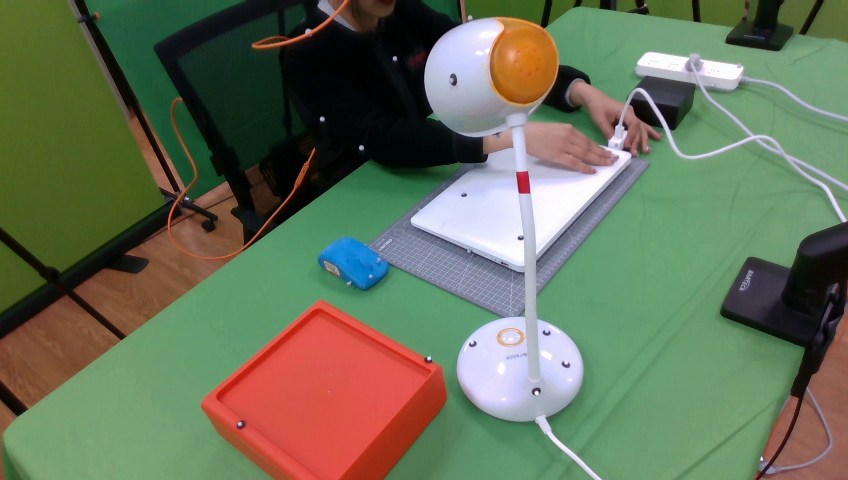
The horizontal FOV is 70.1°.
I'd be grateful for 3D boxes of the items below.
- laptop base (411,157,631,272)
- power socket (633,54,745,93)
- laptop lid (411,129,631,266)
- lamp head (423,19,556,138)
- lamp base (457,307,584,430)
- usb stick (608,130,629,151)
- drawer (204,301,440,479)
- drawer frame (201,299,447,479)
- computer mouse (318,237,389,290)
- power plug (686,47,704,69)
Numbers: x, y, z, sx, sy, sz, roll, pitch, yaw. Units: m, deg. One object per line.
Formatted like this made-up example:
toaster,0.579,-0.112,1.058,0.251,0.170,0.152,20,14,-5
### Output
laptop base,0.175,-0.083,1.055,0.233,0.023,0.355,22,49,36
power socket,0.563,-0.358,1.295,0.225,0.033,0.072,21,50,30
laptop lid,0.172,-0.092,1.048,0.239,0.013,0.358,24,50,36
lamp head,0.069,-0.151,0.563,0.113,0.113,0.122,-21,18,-13
lamp base,0.115,0.108,0.713,0.161,0.181,0.178,-16,43,-8
usb stick,0.354,-0.176,1.110,0.021,0.027,0.059,23,55,29
drawer,-0.120,0.193,0.734,0.210,0.073,0.195,23,49,32
drawer frame,-0.117,0.193,0.733,0.212,0.083,0.202,23,48,32
computer mouse,-0.113,0.033,0.959,0.116,0.041,0.063,28,51,31
power plug,0.565,-0.384,1.247,0.035,0.073,0.052,22,73,14
